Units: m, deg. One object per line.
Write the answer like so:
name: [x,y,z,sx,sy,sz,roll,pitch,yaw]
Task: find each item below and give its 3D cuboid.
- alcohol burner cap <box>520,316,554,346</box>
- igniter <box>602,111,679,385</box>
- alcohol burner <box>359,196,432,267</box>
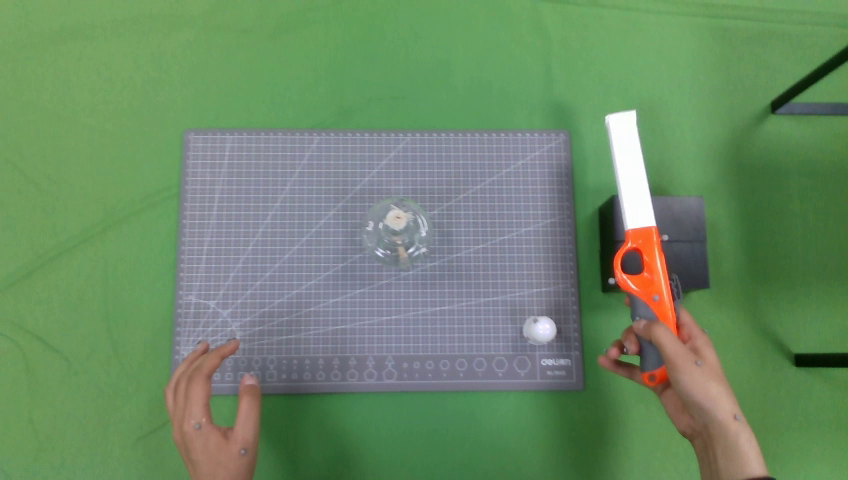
alcohol burner cap: [0.124,0.097,0.656,0.034,0.048,0.033,0,79,0]
igniter: [0.212,0.001,0.598,0.057,0.025,0.275,-8,74,13]
alcohol burner: [-0.030,-0.012,0.634,0.078,0.119,0.077,1,80,-3]
